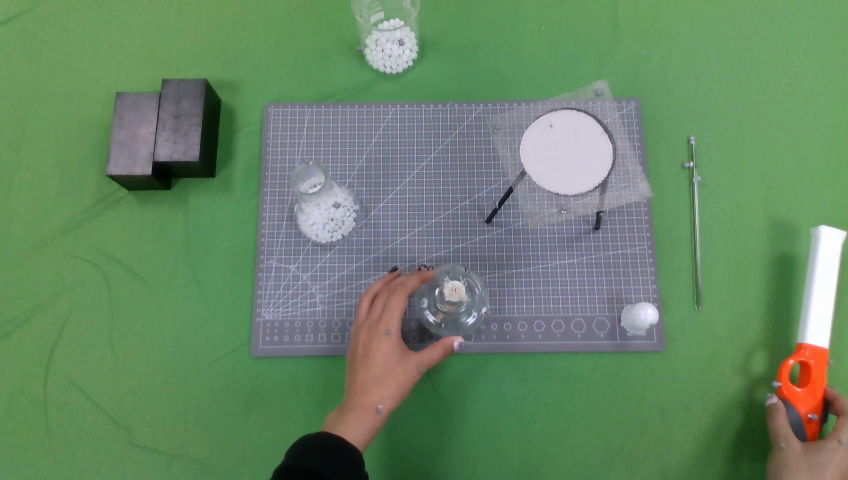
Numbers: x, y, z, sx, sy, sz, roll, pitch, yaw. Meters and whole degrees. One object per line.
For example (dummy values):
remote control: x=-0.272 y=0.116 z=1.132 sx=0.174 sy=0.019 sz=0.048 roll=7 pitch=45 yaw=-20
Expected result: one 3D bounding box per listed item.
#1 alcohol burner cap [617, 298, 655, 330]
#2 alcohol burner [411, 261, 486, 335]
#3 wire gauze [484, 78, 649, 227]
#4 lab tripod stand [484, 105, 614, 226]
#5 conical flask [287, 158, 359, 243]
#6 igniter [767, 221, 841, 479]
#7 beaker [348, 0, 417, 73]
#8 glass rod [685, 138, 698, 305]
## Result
alcohol burner cap: x=0.230 y=0.077 z=0.648 sx=0.034 sy=0.048 sz=0.033 roll=0 pitch=77 yaw=-1
alcohol burner: x=0.026 y=0.056 z=0.616 sx=0.078 sy=0.119 sz=0.077 roll=0 pitch=76 yaw=-1
wire gauze: x=0.133 y=-0.083 z=0.569 sx=0.125 sy=0.011 sz=0.121 roll=-17 pitch=77 yaw=-4
lab tripod stand: x=0.134 y=-0.069 z=0.636 sx=0.148 sy=0.132 sz=0.147 roll=0 pitch=78 yaw=1
conical flask: x=-0.112 y=-0.046 z=0.636 sx=0.075 sy=0.122 sz=0.075 roll=0 pitch=76 yaw=0
igniter: x=0.394 y=0.115 z=0.625 sx=0.057 sy=0.025 sz=0.275 roll=14 pitch=81 yaw=-3
beaker: x=-0.042 y=-0.248 z=0.699 sx=0.084 sy=0.100 sz=0.073 roll=-41 pitch=80 yaw=-9
glass rod: x=0.305 y=-0.024 z=0.692 sx=0.008 sy=0.008 sz=0.198 roll=4 pitch=76 yaw=1
